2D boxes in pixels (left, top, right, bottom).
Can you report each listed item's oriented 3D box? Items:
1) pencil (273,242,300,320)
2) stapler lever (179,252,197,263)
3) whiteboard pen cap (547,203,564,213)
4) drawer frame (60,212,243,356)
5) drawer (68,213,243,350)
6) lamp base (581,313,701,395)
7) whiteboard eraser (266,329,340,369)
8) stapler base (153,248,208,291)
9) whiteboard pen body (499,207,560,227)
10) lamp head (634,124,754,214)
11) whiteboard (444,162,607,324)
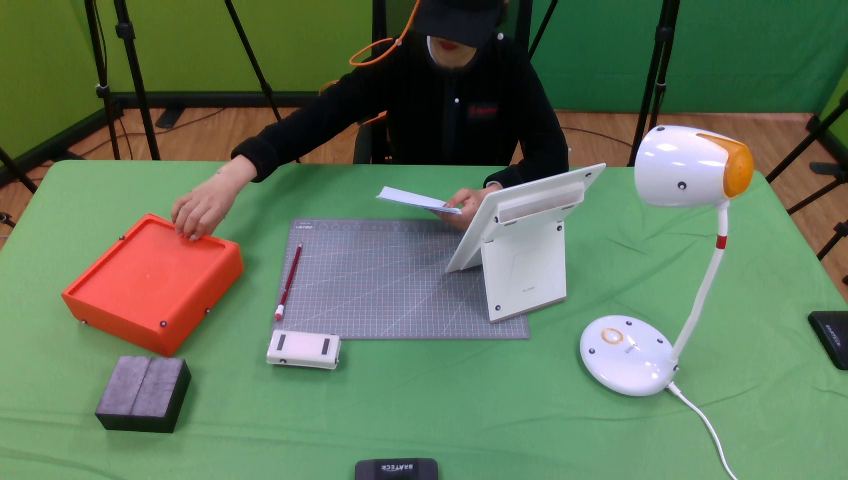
[{"bbox_3d":[-0.249,0.071,1.115,0.012,0.012,0.193,5,43,1],"label":"pencil"},{"bbox_3d":[-0.441,0.025,1.087,0.117,0.040,0.027,29,36,31],"label":"stapler lever"},{"bbox_3d":[0.277,-0.066,1.275,0.033,0.018,0.018,-18,50,-15],"label":"whiteboard pen cap"},{"bbox_3d":[-0.461,0.070,1.053,0.201,0.083,0.213,18,48,12],"label":"drawer frame"},{"bbox_3d":[-0.460,0.067,1.058,0.194,0.073,0.211,19,48,12],"label":"drawer"},{"bbox_3d":[0.361,0.144,0.973,0.178,0.181,0.160,34,53,23],"label":"lamp base"},{"bbox_3d":[-0.198,0.181,0.994,0.113,0.042,0.055,5,45,1],"label":"whiteboard eraser"},{"bbox_3d":[-0.443,0.048,1.101,0.130,0.024,0.041,31,37,30],"label":"stapler base"},{"bbox_3d":[0.222,-0.051,1.259,0.141,0.017,0.017,-15,49,-16],"label":"whiteboard pen body"},{"bbox_3d":[0.351,-0.089,0.776,0.112,0.113,0.122,-30,30,-28],"label":"lamp head"},{"bbox_3d":[0.186,0.025,1.029,0.217,0.306,0.143,-15,68,-18],"label":"whiteboard"}]
